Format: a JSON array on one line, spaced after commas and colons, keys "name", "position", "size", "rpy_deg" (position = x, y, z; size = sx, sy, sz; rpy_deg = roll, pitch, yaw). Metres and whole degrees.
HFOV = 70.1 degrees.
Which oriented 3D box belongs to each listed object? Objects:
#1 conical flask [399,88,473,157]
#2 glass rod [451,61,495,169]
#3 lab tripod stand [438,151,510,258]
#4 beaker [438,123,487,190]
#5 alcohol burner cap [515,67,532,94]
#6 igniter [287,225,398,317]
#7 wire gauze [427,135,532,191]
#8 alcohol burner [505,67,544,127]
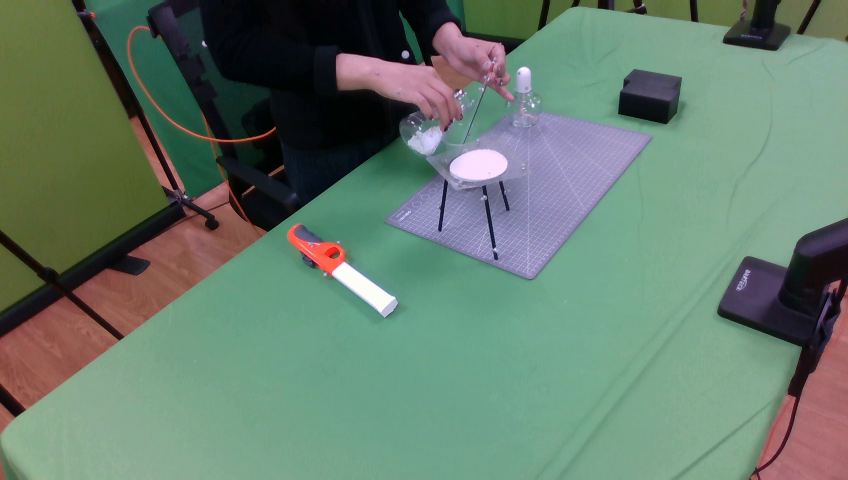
[{"name": "conical flask", "position": [0.024, -0.197, 0.976], "size": [0.122, 0.076, 0.074], "rpy_deg": [-43, 49, -19]}, {"name": "glass rod", "position": [0.081, -0.210, 1.034], "size": [0.008, 0.199, 0.008], "rpy_deg": [19, 25, -8]}, {"name": "lab tripod stand", "position": [0.087, -0.064, 0.952], "size": [0.148, 0.132, 0.147], "rpy_deg": [-6, 38, 5]}, {"name": "beaker", "position": [0.072, -0.147, 1.080], "size": [0.084, 0.101, 0.073], "rpy_deg": [-5, 40, 7]}, {"name": "alcohol burner cap", "position": [0.197, -0.315, 1.187], "size": [0.034, 0.048, 0.033], "rpy_deg": [-3, 46, 3]}, {"name": "igniter", "position": [-0.139, 0.041, 0.958], "size": [0.057, 0.025, 0.274], "rpy_deg": [-42, 49, -19]}, {"name": "wire gauze", "position": [0.081, -0.116, 0.909], "size": [0.125, 0.011, 0.120], "rpy_deg": [-18, 39, -11]}, {"name": "alcohol burner", "position": [0.201, -0.288, 1.211], "size": [0.078, 0.119, 0.077], "rpy_deg": [-6, 38, 5]}]
